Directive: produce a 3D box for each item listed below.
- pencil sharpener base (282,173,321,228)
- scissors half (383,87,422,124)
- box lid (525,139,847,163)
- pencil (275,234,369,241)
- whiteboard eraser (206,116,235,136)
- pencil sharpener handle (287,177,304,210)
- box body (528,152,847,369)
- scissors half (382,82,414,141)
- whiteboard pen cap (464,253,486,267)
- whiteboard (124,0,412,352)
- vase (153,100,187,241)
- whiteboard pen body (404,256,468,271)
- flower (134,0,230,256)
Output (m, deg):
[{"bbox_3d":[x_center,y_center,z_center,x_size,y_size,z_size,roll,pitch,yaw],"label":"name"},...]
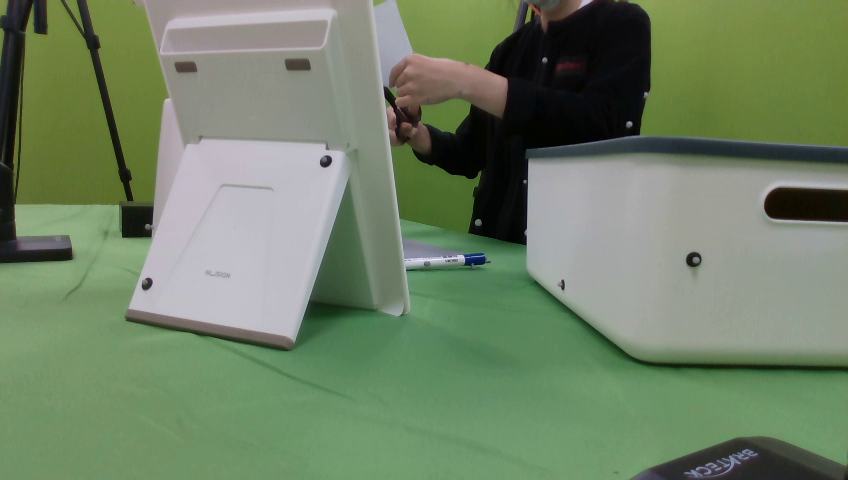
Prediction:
[{"bbox_3d":[-0.247,-0.080,1.212,0.061,0.107,0.076,-2,5,-28],"label":"pencil sharpener base"},{"bbox_3d":[-0.044,-0.249,1.076,0.013,0.040,0.176,18,1,27],"label":"scissors half"},{"bbox_3d":[0.261,-0.078,0.580,0.264,0.015,0.371,2,7,-4],"label":"box lid"},{"bbox_3d":[-0.169,-0.006,1.036,0.195,0.012,0.012,-2,9,-45],"label":"pencil"},{"bbox_3d":[-0.450,-0.252,1.335,0.056,0.042,0.112,1,7,-22],"label":"whiteboard eraser"},{"bbox_3d":[-0.269,-0.096,1.257,0.036,0.067,0.030,-8,8,-27],"label":"pencil sharpener handle"},{"bbox_3d":[0.257,-0.005,0.591,0.254,0.160,0.363,2,7,-4],"label":"box body"},{"bbox_3d":[-0.054,-0.230,1.073,0.012,0.040,0.176,24,-18,28],"label":"scissors half"},{"bbox_3d":[0.066,0.027,0.818,0.033,0.018,0.018,-5,10,-24],"label":"whiteboard pen cap"},{"bbox_3d":[-0.151,-0.049,0.472,0.216,0.305,0.144,6,27,24],"label":"whiteboard"},{"bbox_3d":[-0.278,-0.066,0.736,0.098,0.200,0.098,2,9,0],"label":"vase"},{"bbox_3d":[0.013,0.030,0.792,0.141,0.017,0.017,-3,9,-24],"label":"whiteboard pen body"},{"bbox_3d":[-0.282,-0.147,0.713,0.038,0.362,0.044,-23,24,-31],"label":"flower"}]
